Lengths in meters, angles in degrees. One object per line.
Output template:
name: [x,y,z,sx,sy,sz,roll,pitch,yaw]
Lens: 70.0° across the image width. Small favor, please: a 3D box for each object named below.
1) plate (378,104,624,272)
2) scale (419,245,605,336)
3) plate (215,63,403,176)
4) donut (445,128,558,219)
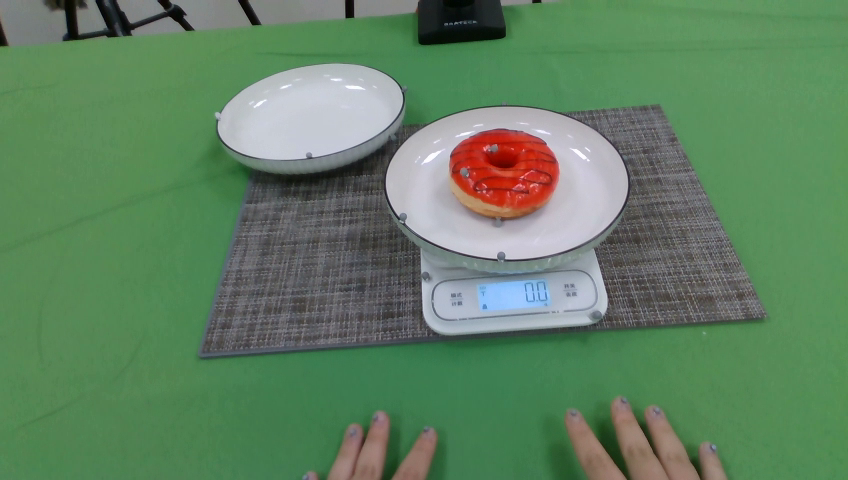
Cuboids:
plate: [0.065,-0.046,0.530,0.207,0.039,0.205,-2,45,3]
scale: [0.069,-0.006,0.537,0.148,0.032,0.199,-4,46,2]
plate: [-0.126,-0.134,0.682,0.209,0.038,0.207,-4,43,4]
donut: [0.067,-0.058,0.525,0.099,0.049,0.098,-1,46,1]
